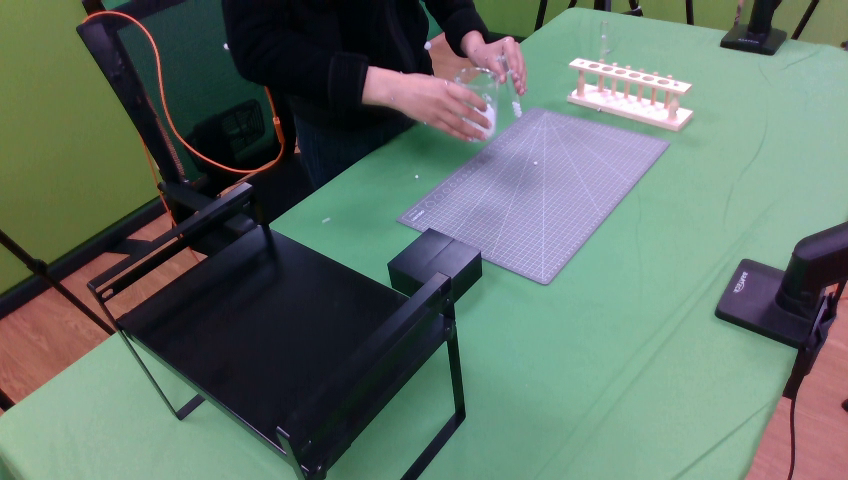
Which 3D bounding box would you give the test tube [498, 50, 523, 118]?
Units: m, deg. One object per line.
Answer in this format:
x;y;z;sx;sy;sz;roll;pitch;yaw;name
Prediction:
0.152;-0.269;1.059;0.017;0.151;0.017;-11;53;15;test tube

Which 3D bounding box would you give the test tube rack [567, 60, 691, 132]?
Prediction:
0.411;-0.299;1.216;0.240;0.085;0.067;26;51;34;test tube rack

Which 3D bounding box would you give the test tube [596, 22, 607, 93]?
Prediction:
0.364;-0.372;1.240;0.017;0.151;0.017;-6;40;5;test tube

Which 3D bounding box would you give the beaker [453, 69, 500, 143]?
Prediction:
0.087;-0.219;0.988;0.073;0.100;0.084;31;49;32;beaker
